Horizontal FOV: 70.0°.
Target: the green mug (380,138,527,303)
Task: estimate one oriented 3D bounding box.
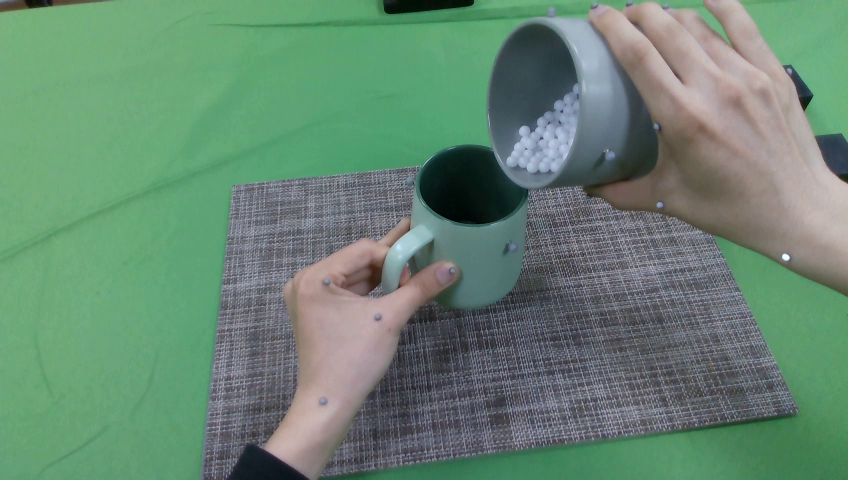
[{"bbox_3d":[0.019,-0.003,0.451,0.125,0.106,0.092,-36,62,-24],"label":"green mug"}]

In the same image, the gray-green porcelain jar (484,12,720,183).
[{"bbox_3d":[0.121,-0.095,0.407,0.127,0.106,0.104,-7,52,-25],"label":"gray-green porcelain jar"}]
